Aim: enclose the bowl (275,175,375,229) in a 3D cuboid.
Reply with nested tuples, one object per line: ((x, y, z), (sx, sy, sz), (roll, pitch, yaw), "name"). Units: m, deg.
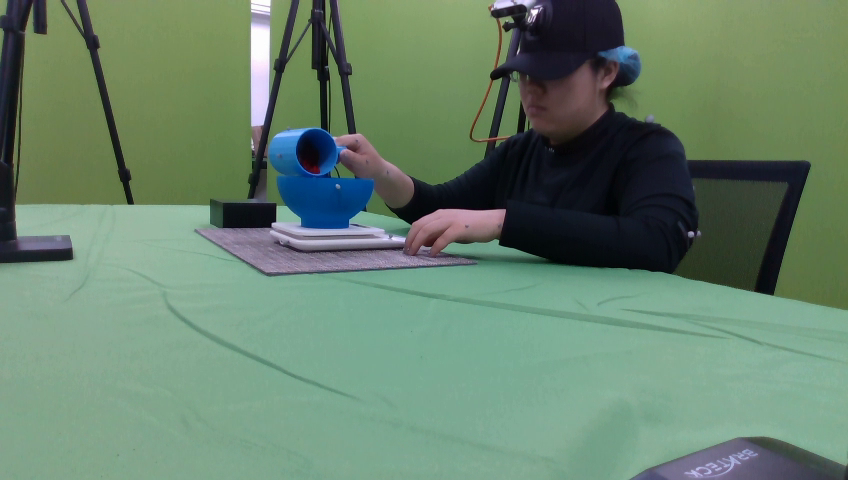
((-0.152, -0.059, 0.932), (0.151, 0.077, 0.151), (2, 6, 0), "bowl")

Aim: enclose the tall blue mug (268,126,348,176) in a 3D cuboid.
((-0.190, -0.154, 1.007), (0.107, 0.078, 0.107), (-40, 26, -27), "tall blue mug")

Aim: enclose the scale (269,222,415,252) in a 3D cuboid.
((-0.130, -0.008, 0.958), (0.202, 0.031, 0.148), (-1, 9, -32), "scale")
